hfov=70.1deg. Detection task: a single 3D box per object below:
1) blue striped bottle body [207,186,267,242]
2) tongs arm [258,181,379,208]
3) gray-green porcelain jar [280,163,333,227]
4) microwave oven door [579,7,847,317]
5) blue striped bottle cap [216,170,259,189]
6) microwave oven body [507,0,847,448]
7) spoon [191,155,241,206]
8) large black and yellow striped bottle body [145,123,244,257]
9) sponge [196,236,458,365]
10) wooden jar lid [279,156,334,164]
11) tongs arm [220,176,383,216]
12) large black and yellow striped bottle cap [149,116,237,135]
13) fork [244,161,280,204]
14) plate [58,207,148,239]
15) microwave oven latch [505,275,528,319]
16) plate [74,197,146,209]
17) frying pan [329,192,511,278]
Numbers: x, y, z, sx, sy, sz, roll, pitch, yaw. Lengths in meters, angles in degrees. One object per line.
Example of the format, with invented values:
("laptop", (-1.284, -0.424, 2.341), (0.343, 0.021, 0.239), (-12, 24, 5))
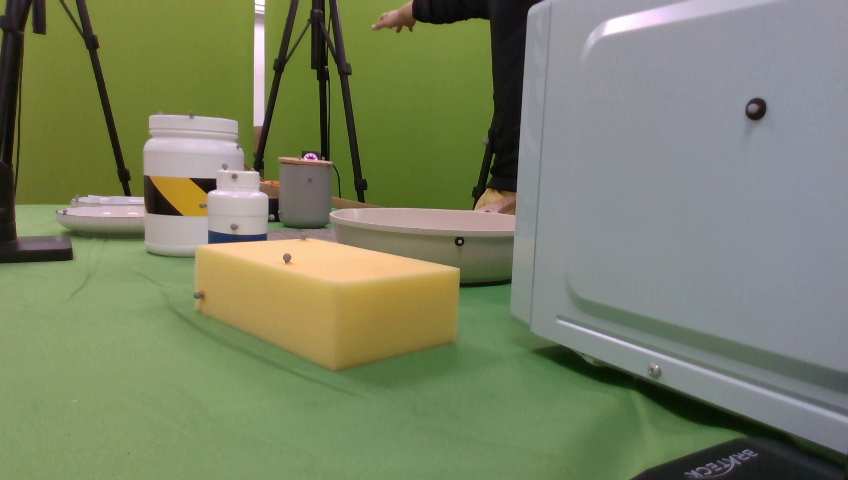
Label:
("blue striped bottle body", (-0.204, -0.016, 0.661), (0.063, 0.120, 0.063), (2, 7, 0))
("tongs arm", (-0.242, -0.095, 1.374), (0.387, 0.026, 0.050), (9, 0, -37))
("gray-green porcelain jar", (-0.238, -0.092, 1.221), (0.106, 0.126, 0.106), (1, 7, 0))
("microwave oven door", (0.294, -0.067, 0.570), (0.358, 0.243, 0.039), (-3, 9, -31))
("blue striped bottle cap", (-0.201, -0.066, 0.654), (0.044, 0.020, 0.044), (0, 6, 0))
("microwave oven body", (0.331, -0.042, 0.425), (0.444, 0.260, 0.324), (-2, 8, -31))
("spoon", (-0.489, -0.136, 1.418), (0.041, 0.021, 0.194), (2, -35, 19))
("large black and yellow striped bottle body", (-0.320, -0.075, 0.851), (0.131, 0.184, 0.130), (2, 8, 0))
("sponge", (-0.087, 0.039, 0.500), (0.206, 0.061, 0.119), (8, 9, 44))
("wooden jar lid", (-0.237, -0.154, 1.213), (0.108, 0.020, 0.108), (6, 9, -1))
("tongs arm", (-0.286, -0.104, 1.445), (0.389, 0.027, 0.028), (10, -4, -23))
("large black and yellow striped bottle cap", (-0.319, -0.158, 0.841), (0.115, 0.019, 0.115), (3, 7, 0))
("fork", (-0.399, -0.144, 1.489), (0.028, 0.018, 0.208), (22, -24, 47))
("plate", (-0.496, -0.030, 1.022), (0.209, 0.038, 0.209), (2, 8, 0))
("microwave oven latch", (0.100, 0.041, 0.471), (0.079, 0.029, 0.030), (-1, 8, -28))
("plate", (-0.596, -0.062, 1.238), (0.208, 0.039, 0.207), (2, 8, 0))
("frying pan", (0.071, -0.030, 0.884), (0.305, 0.102, 0.490), (7, 17, 27))
